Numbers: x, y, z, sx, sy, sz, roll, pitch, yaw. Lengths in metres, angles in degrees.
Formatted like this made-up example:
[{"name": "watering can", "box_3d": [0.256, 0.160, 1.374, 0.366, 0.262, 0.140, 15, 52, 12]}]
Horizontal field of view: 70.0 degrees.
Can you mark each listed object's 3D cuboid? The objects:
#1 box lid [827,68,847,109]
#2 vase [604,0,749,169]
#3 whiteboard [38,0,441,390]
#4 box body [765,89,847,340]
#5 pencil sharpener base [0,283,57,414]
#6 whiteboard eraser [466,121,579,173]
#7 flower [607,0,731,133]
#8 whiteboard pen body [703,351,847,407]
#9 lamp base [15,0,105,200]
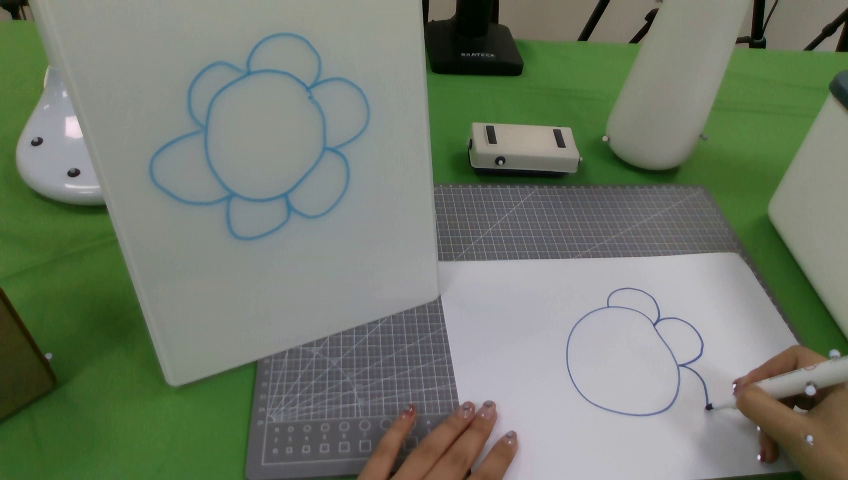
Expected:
[{"name": "box lid", "box_3d": [0.490, -0.017, 0.426, 0.264, 0.015, 0.367, 1, 45, -7]}, {"name": "vase", "box_3d": [0.259, -0.171, 0.624, 0.098, 0.201, 0.097, 5, 45, -4]}, {"name": "whiteboard", "box_3d": [-0.121, -0.083, 0.449, 0.218, 0.308, 0.142, -16, 31, -21]}, {"name": "box body", "box_3d": [0.484, 0.034, 0.481, 0.255, 0.162, 0.360, 0, 46, -7]}, {"name": "pencil sharpener base", "box_3d": [-0.297, 0.057, 0.385, 0.076, 0.108, 0.061, 34, 51, 24]}, {"name": "whiteboard eraser", "box_3d": [0.103, -0.097, 0.640, 0.113, 0.042, 0.055, 1, 43, -6]}, {"name": "flower", "box_3d": [0.278, -0.218, 0.557, 0.044, 0.363, 0.038, -21, 69, -34]}, {"name": "whiteboard pen body", "box_3d": [0.249, 0.095, 0.409, 0.017, 0.141, 0.017, 16, 56, -25]}, {"name": "lamp base", "box_3d": [-0.308, -0.154, 0.539, 0.178, 0.182, 0.160, 29, 49, 23]}]
